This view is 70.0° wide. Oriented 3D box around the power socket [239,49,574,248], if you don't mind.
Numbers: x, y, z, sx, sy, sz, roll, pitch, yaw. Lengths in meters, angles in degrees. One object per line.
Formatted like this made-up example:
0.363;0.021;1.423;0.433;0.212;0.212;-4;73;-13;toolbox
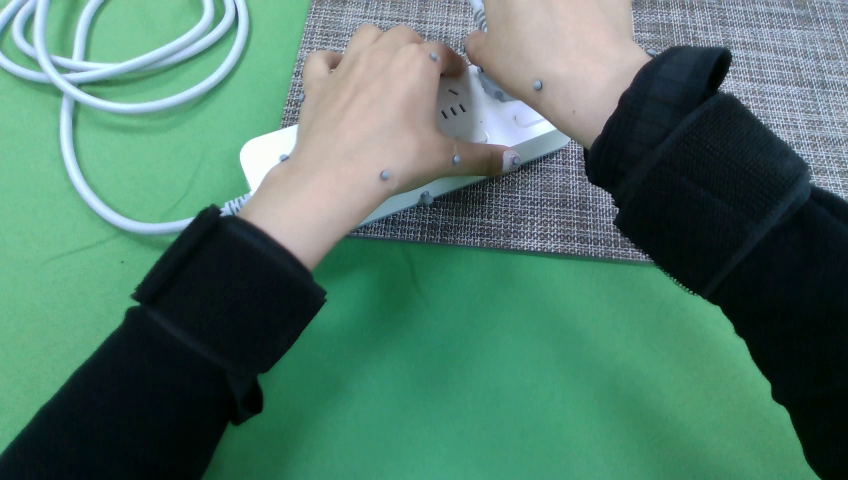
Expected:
-0.008;-0.062;0.387;0.227;0.033;0.071;-22;65;-12;power socket

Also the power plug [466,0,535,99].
0.048;-0.124;0.395;0.035;0.053;0.072;-12;66;-7;power plug
